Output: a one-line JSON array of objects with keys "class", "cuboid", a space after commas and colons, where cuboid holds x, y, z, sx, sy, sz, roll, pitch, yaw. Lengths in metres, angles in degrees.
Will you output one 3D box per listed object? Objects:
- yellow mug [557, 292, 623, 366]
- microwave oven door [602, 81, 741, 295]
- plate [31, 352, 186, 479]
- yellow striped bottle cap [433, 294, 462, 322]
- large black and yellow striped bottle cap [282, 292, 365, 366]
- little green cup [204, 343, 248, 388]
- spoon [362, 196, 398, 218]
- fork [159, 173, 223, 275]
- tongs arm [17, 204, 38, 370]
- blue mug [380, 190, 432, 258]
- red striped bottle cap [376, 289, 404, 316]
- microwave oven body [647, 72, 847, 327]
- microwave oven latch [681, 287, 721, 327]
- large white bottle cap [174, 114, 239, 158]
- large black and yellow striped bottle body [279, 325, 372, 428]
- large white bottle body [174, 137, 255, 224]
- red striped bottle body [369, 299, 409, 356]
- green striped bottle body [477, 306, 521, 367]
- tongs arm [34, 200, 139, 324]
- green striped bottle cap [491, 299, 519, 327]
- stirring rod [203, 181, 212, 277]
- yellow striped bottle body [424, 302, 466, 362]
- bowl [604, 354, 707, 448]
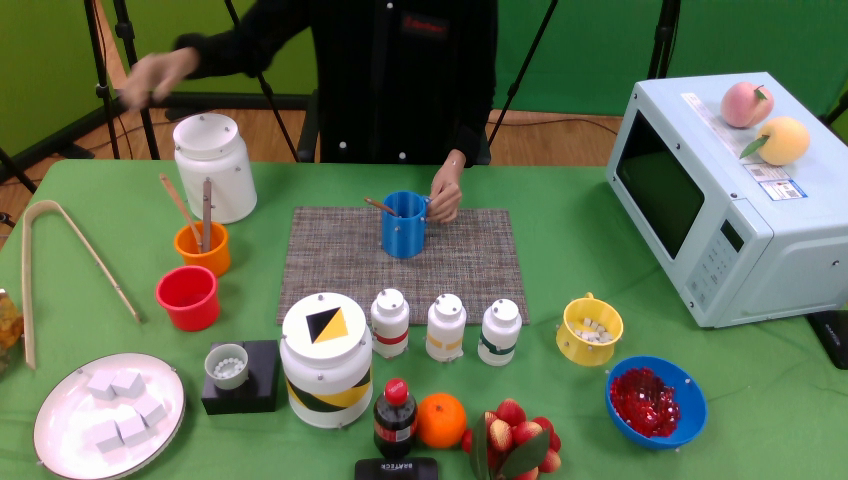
[{"class": "yellow mug", "cuboid": [0.285, 0.145, 1.051, 0.100, 0.064, 0.130, 7, 45, 4]}, {"class": "microwave oven door", "cuboid": [0.456, -0.107, 1.162, 0.039, 0.245, 0.353, -7, 47, -11]}, {"class": "plate", "cuboid": [-0.459, 0.262, 0.898, 0.209, 0.038, 0.208, 2, 46, -2]}, {"class": "yellow striped bottle cap", "cuboid": [0.037, 0.107, 0.958, 0.044, 0.019, 0.044, 2, 45, -2]}, {"class": "large black and yellow striped bottle cap", "cuboid": [-0.138, 0.121, 0.841, 0.115, 0.019, 0.114, 3, 47, -3]}, {"class": "little green cup", "cuboid": [-0.294, 0.191, 0.909, 0.061, 0.039, 0.061, 1, 48, -1]}, {"class": "spoon", "cuboid": [-0.064, -0.049, 1.117, 0.041, 0.195, 0.021, 41, 91, 29]}, {"class": "fork", "cuboid": [-0.426, -0.029, 1.103, 0.028, 0.018, 0.207, -31, 99, -30]}, {"class": "tongs arm", "cuboid": [-0.698, 0.069, 1.068, 0.028, 0.028, 0.385, -20, 50, -13]}, {"class": "blue mug", "cuboid": [-0.030, -0.037, 1.169, 0.116, 0.106, 0.082, -30, 56, -29]}, {"class": "red striped bottle cap", "cuboid": [-0.055, 0.098, 0.959, 0.044, 0.018, 0.044, 0, 48, 0]}, {"class": "microwave oven body", "cuboid": [0.607, -0.089, 1.164, 0.326, 0.261, 0.438, -7, 46, -10]}, {"class": "microwave oven latch", "cuboid": [0.494, 0.119, 1.087, 0.030, 0.029, 0.078, -6, 46, -9]}, {"class": "large white bottle cap", "cuboid": [-0.403, -0.195, 1.122, 0.115, 0.018, 0.114, 2, 47, -2]}, {"class": "large black and yellow striped bottle body", "cuboid": [-0.143, 0.181, 0.900, 0.131, 0.185, 0.130, 2, 46, -2]}, {"class": "large white bottle body", "cuboid": [-0.408, -0.136, 1.183, 0.131, 0.185, 0.130, 2, 46, -2]}, {"class": "red striped bottle body", "cuboid": [-0.058, 0.134, 0.997, 0.063, 0.120, 0.062, 4, 47, -4]}, {"class": "green striped bottle body", "cuboid": [0.124, 0.151, 0.995, 0.063, 0.120, 0.063, 2, 46, -2]}, {"class": "tongs arm", "cuboid": [-0.622, 0.034, 1.105, 0.051, 0.026, 0.382, -32, 55, -26]}, {"class": "green striped bottle cap", "cuboid": [0.128, 0.115, 0.958, 0.044, 0.020, 0.044, 1, 46, -1]}, {"class": "stirring rod", "cuboid": [-0.396, -0.021, 1.108, 0.014, 0.006, 0.176, -1, 89, -1]}, {"class": "yellow striped bottle body", "cuboid": [0.035, 0.143, 0.995, 0.063, 0.121, 0.062, 3, 46, -2]}, {"class": "bowl", "cuboid": [0.346, 0.261, 0.937, 0.151, 0.077, 0.150, 2, 46, -2]}]
